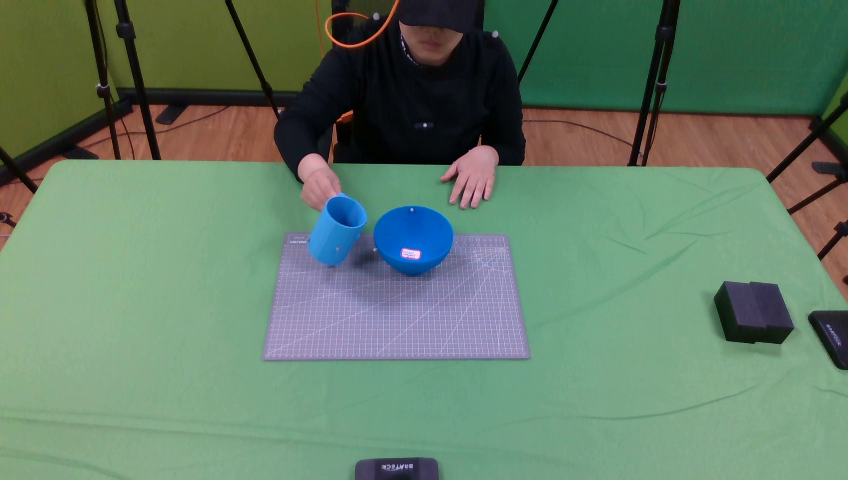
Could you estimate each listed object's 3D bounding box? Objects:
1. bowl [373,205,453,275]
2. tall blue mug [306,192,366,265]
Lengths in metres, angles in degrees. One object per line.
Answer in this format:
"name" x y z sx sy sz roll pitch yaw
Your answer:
"bowl" -0.022 0.013 1.143 0.151 0.077 0.150 2 46 -2
"tall blue mug" -0.166 -0.029 1.094 0.078 0.108 0.106 -11 58 -40
